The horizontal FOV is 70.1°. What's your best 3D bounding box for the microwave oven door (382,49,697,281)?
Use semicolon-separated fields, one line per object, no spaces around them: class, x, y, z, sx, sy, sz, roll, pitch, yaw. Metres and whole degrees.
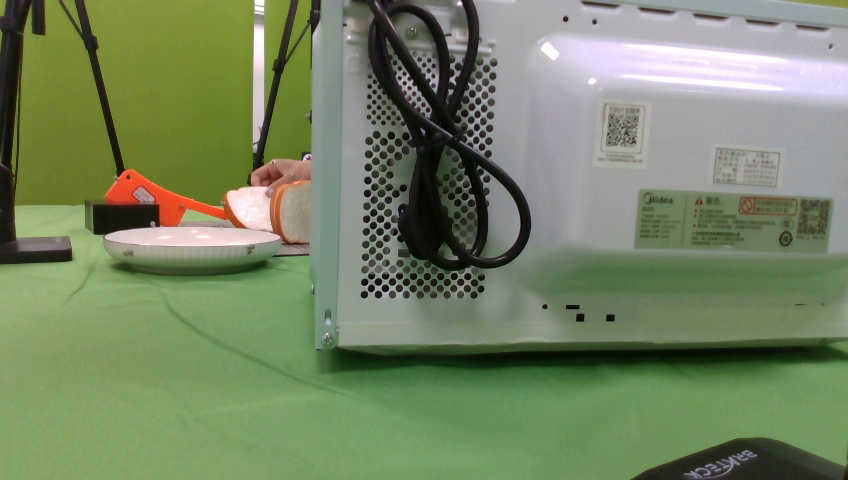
microwave oven door;0.135;-0.077;0.685;0.357;0.243;0.039;1;8;-12

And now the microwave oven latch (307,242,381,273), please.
microwave oven latch;-0.086;0.019;0.656;0.079;0.029;0.030;2;7;-10

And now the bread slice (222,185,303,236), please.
bread slice;-0.274;-0.051;1.032;0.135;0.018;0.106;-6;56;-48

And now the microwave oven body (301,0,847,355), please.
microwave oven body;0.120;-0.053;0.535;0.443;0.260;0.325;2;7;-11

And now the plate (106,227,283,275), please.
plate;-0.288;0.013;0.772;0.208;0.039;0.207;2;7;0

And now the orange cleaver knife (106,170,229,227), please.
orange cleaver knife;-0.458;-0.060;1.097;0.212;0.077;0.012;23;-4;-38
